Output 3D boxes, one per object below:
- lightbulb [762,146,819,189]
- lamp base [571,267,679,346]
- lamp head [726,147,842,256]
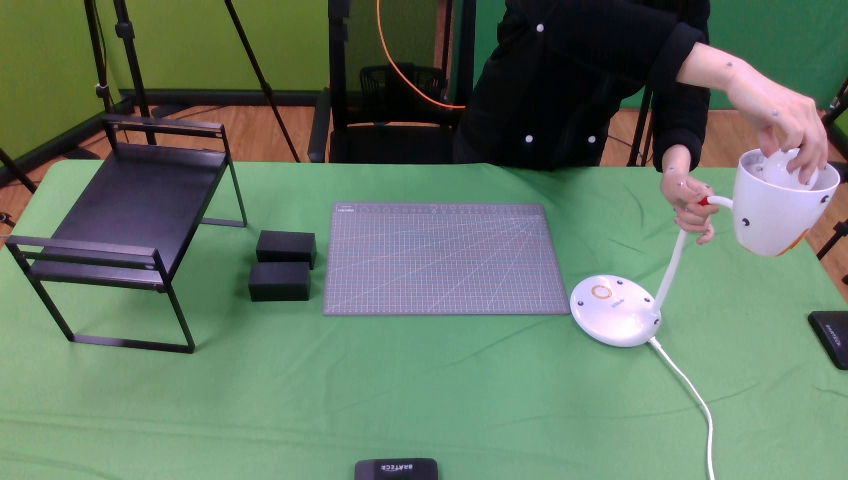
[{"bbox_3d":[0.441,-0.063,0.743,0.059,0.108,0.059,3,30,-1],"label":"lightbulb"},{"bbox_3d":[0.359,0.077,1.038,0.160,0.181,0.178,-34,59,-31],"label":"lamp base"},{"bbox_3d":[0.436,-0.044,0.759,0.112,0.123,0.111,1,40,0],"label":"lamp head"}]
